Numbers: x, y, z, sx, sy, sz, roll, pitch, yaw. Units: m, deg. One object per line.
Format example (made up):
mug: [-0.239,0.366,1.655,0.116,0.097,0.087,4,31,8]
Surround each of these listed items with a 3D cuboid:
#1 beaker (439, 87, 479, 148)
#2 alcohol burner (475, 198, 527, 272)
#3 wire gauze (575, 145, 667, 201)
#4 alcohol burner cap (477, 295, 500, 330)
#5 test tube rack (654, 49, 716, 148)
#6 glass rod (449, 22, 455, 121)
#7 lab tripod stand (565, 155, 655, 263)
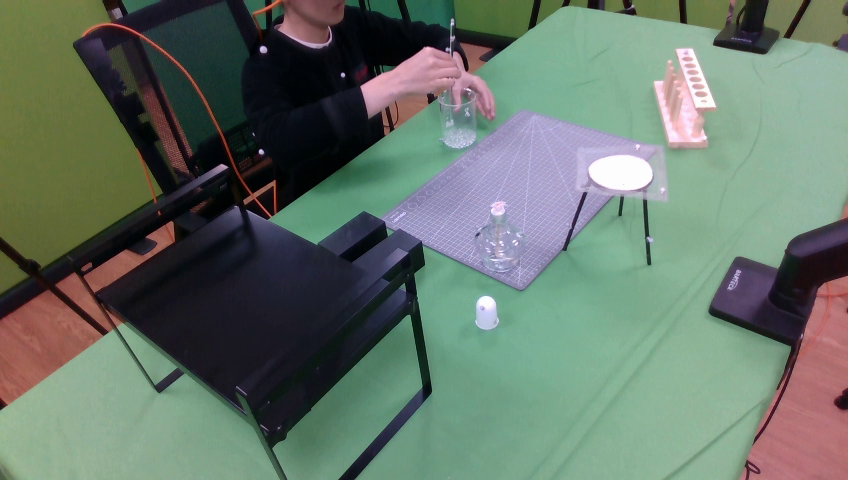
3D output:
beaker: [0.073,-0.239,1.184,0.073,0.101,0.084,29,52,35]
alcohol burner: [0.113,-0.012,0.897,0.078,0.119,0.077,-6,40,6]
wire gauze: [0.279,-0.100,0.861,0.124,0.011,0.121,5,43,14]
alcohol burner cap: [0.089,0.097,0.833,0.034,0.048,0.033,-4,42,4]
test tube rack: [0.502,-0.281,1.176,0.066,0.085,0.241,2,41,11]
glass rod: [0.051,-0.305,1.113,0.008,0.200,0.008,0,46,0]
lab tripod stand: [0.285,-0.046,0.901,0.148,0.132,0.147,-5,42,5]
